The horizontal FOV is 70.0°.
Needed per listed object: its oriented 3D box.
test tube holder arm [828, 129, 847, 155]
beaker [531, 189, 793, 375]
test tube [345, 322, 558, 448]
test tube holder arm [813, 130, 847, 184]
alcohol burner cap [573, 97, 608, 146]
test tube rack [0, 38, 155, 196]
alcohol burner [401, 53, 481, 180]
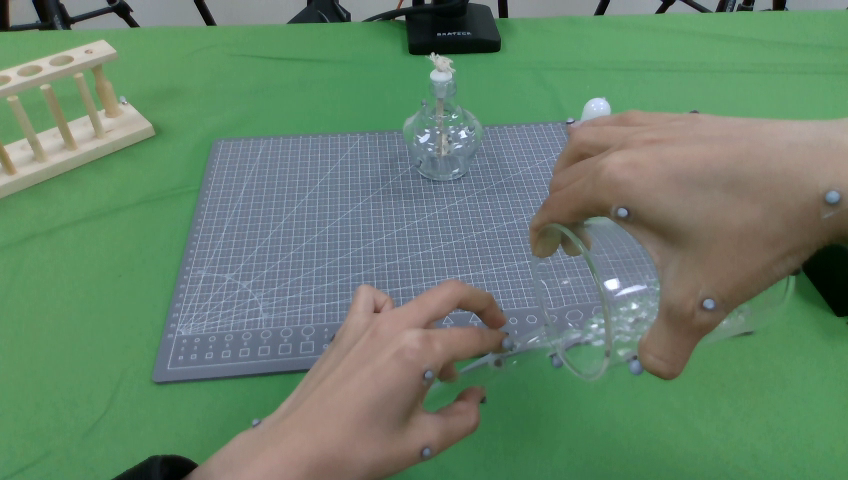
[{"bbox_3d":[0.373,-0.036,0.497,0.013,0.015,0.176,-7,44,4],"label":"test tube holder arm"},{"bbox_3d":[0.112,0.019,0.292,0.100,0.084,0.073,-12,57,-11],"label":"beaker"},{"bbox_3d":[0.010,0.086,0.345,0.150,0.017,0.017,-34,38,25],"label":"test tube"},{"bbox_3d":[0.366,-0.066,0.529,0.010,0.015,0.087,-6,44,4],"label":"test tube holder arm"},{"bbox_3d":[0.175,-0.126,0.633,0.034,0.048,0.033,1,44,0],"label":"alcohol burner cap"},{"bbox_3d":[-0.397,-0.104,0.574,0.242,0.086,0.066,-32,53,-29],"label":"test tube rack"},{"bbox_3d":[0.016,-0.118,0.570,0.078,0.120,0.077,-1,43,1],"label":"alcohol burner"}]
